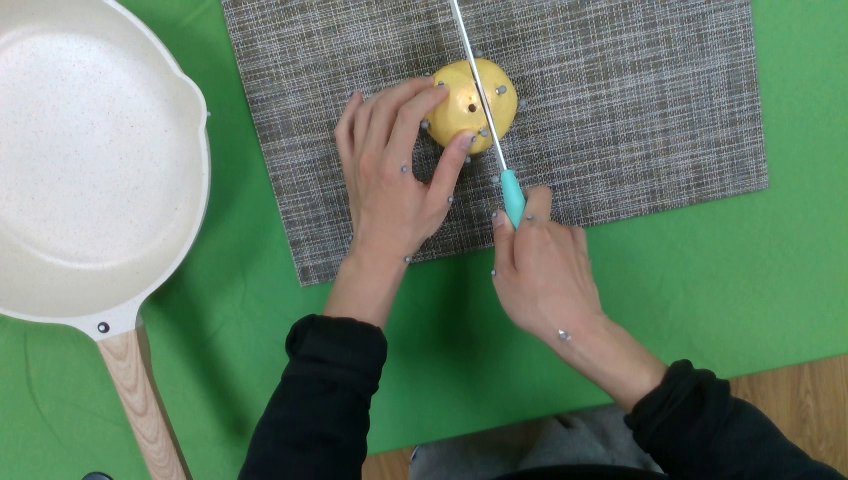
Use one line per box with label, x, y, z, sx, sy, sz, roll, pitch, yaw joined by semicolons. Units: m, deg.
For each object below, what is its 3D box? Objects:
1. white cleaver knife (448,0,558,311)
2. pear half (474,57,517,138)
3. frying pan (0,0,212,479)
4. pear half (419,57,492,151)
white cleaver knife;0.065;-0.073;0.504;0.021;0.065;0.287;-16;102;8
pear half;0.060;-0.122;0.504;0.031;0.087;0.070;-25;99;2
frying pan;-0.292;0.025;0.539;0.307;0.102;0.488;-17;94;5
pear half;0.024;-0.107;0.496;0.056;0.109;0.076;-25;99;8
